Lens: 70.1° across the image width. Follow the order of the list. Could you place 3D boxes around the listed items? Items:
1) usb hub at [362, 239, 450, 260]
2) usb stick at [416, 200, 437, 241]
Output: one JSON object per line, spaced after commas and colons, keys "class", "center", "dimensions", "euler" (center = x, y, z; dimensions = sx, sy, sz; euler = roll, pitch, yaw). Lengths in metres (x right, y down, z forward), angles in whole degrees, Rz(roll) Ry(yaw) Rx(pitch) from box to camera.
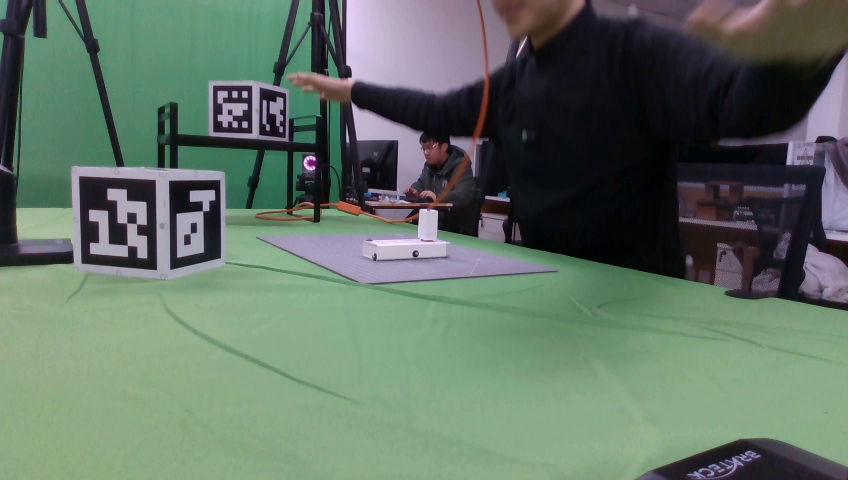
{"class": "usb hub", "center": [-0.026, 0.013, 0.894], "dimensions": [0.126, 0.025, 0.049], "euler": [-1, 7, -31]}
{"class": "usb stick", "center": [0.003, -0.029, 0.902], "dimensions": [0.027, 0.059, 0.021], "euler": [3, 15, 30]}
